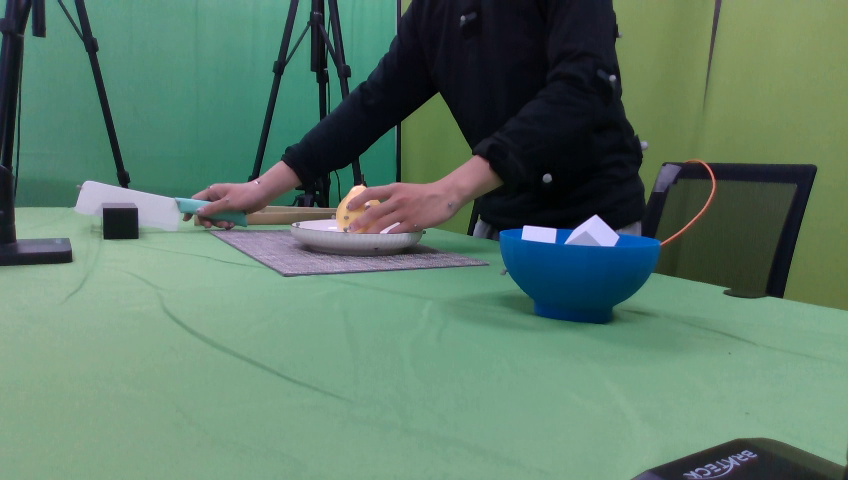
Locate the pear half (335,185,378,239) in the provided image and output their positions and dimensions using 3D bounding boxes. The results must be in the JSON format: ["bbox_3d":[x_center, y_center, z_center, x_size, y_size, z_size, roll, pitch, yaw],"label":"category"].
[{"bbox_3d":[-0.111,-0.046,0.973,0.071,0.088,0.031,-4,11,-26],"label":"pear half"}]

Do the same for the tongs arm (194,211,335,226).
[{"bbox_3d":[-0.298,-0.050,1.308,0.390,0.028,0.028,-3,7,-38],"label":"tongs arm"}]

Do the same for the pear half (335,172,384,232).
[{"bbox_3d":[-0.097,-0.050,0.940,0.077,0.110,0.055,-5,11,-26],"label":"pear half"}]

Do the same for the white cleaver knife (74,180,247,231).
[{"bbox_3d":[-0.463,-0.052,1.089,0.288,0.066,0.021,10,7,-29],"label":"white cleaver knife"}]

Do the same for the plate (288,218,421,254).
[{"bbox_3d":[-0.109,-0.007,0.956,0.208,0.039,0.207,2,7,0],"label":"plate"}]

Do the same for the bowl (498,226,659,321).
[{"bbox_3d":[0.145,0.032,0.585,0.151,0.077,0.151,2,7,0],"label":"bowl"}]

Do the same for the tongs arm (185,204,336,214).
[{"bbox_3d":[-0.337,-0.065,1.377,0.387,0.026,0.050,0,9,-25],"label":"tongs arm"}]
